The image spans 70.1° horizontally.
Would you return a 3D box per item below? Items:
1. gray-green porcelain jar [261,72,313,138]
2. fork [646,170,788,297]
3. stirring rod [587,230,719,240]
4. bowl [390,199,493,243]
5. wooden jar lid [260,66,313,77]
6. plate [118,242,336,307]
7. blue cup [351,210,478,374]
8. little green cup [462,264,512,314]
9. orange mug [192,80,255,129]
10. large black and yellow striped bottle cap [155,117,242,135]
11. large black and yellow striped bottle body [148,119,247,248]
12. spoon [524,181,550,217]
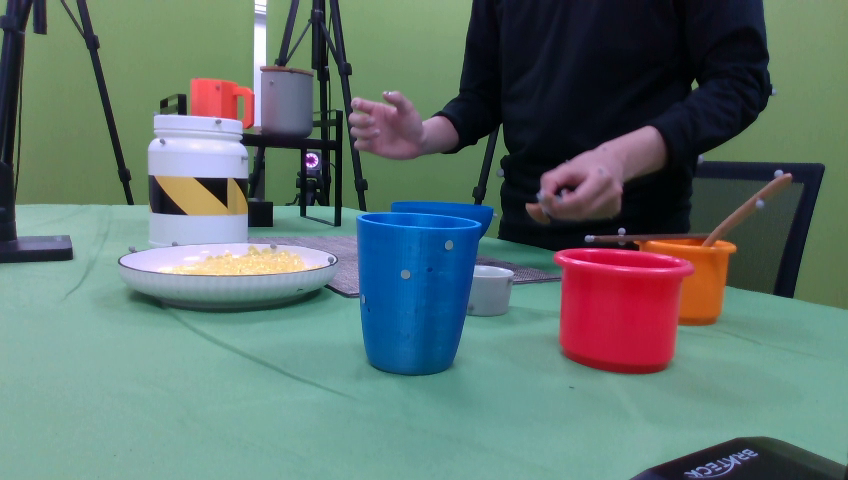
[{"bbox_3d":[-0.284,-0.276,1.253,0.106,0.126,0.106,2,8,0],"label":"gray-green porcelain jar"},{"bbox_3d":[0.256,0.004,0.543,0.028,0.018,0.207,3,-36,-9],"label":"fork"},{"bbox_3d":[0.226,-0.005,0.587,0.177,0.006,0.014,-2,10,-29],"label":"stirring rod"},{"bbox_3d":[0.023,-0.016,0.874,0.151,0.077,0.151,3,7,0],"label":"bowl"},{"bbox_3d":[-0.283,-0.339,1.244,0.108,0.020,0.108,6,9,-1],"label":"wooden jar lid"},{"bbox_3d":[-0.194,0.033,0.615,0.209,0.038,0.209,2,7,0],"label":"plate"},{"bbox_3d":[-0.009,0.034,0.414,0.093,0.100,0.092,3,8,0],"label":"blue cup"},{"bbox_3d":[0.053,0.047,0.580,0.061,0.038,0.061,3,8,0],"label":"little green cup"},{"bbox_3d":[-0.389,-0.257,1.172,0.126,0.100,0.083,-1,6,9],"label":"orange mug"},{"bbox_3d":[-0.313,-0.159,0.845,0.115,0.019,0.115,3,9,0],"label":"large black and yellow striped bottle cap"},{"bbox_3d":[-0.318,-0.076,0.855,0.131,0.184,0.130,2,7,0],"label":"large black and yellow striped bottle body"},{"bbox_3d":[0.142,-0.053,0.740,0.041,0.021,0.194,42,-1,10],"label":"spoon"}]
